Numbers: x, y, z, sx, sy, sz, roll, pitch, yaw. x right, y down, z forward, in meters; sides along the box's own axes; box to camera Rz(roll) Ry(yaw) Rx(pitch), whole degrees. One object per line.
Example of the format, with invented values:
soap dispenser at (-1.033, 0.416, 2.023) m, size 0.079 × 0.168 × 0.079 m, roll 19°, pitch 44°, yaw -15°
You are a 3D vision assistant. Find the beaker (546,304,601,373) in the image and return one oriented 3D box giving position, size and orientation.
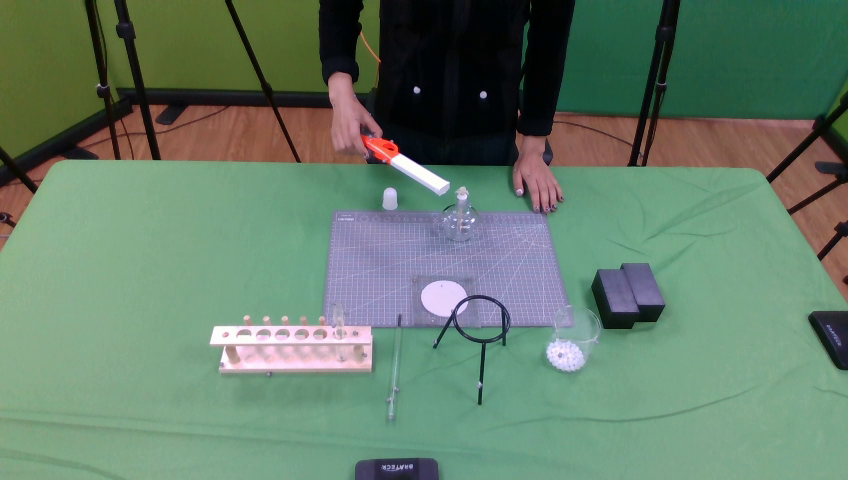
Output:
beaker at (0.242, 0.167, 1.001) m, size 0.084 × 0.101 × 0.073 m, roll -32°, pitch 55°, yaw -28°

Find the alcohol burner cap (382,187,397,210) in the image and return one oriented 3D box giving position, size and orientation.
alcohol burner cap at (-0.072, -0.090, 1.266) m, size 0.034 × 0.048 × 0.033 m, roll 3°, pitch 47°, yaw -3°

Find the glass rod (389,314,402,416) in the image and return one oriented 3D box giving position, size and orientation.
glass rod at (-0.048, 0.203, 1.007) m, size 0.008 × 0.008 × 0.198 m, roll 4°, pitch 45°, yaw 0°

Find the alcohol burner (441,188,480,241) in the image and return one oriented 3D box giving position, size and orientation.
alcohol burner at (0.073, -0.055, 1.189) m, size 0.078 × 0.120 × 0.077 m, roll 1°, pitch 48°, yaw -1°

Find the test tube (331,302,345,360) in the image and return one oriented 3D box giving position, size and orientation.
test tube at (-0.132, 0.144, 0.938) m, size 0.017 × 0.151 × 0.017 m, roll 2°, pitch 49°, yaw -3°

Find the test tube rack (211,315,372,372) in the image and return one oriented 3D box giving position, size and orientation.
test tube rack at (-0.208, 0.163, 0.982) m, size 0.242 × 0.085 × 0.066 m, roll 1°, pitch 46°, yaw -4°

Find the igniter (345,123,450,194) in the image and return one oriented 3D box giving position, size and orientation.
igniter at (-0.060, -0.162, 1.168) m, size 0.275 × 0.025 × 0.057 m, roll 35°, pitch 53°, yaw 29°

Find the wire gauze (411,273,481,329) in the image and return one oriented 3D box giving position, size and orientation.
wire gauze at (0.038, 0.108, 1.103) m, size 0.125 × 0.011 × 0.120 m, roll 2°, pitch 47°, yaw -3°

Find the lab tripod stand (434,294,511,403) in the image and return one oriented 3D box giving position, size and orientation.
lab tripod stand at (0.087, 0.164, 0.969) m, size 0.148 × 0.132 × 0.147 m, roll 3°, pitch 47°, yaw -3°
